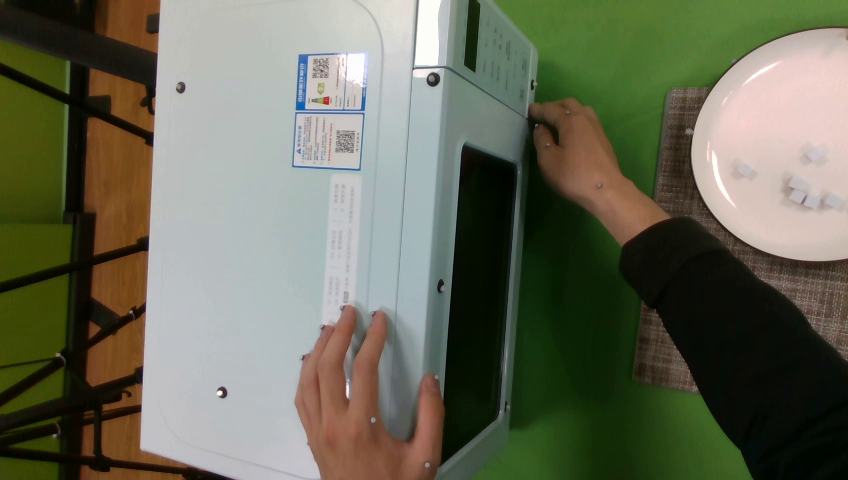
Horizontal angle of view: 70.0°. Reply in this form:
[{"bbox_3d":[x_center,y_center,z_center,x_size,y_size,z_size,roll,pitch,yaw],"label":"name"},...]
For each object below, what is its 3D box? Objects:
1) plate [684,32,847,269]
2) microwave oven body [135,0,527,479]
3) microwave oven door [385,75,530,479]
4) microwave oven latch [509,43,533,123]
[{"bbox_3d":[0.348,-0.077,0.546,0.208,0.038,0.209,0,91,25],"label":"plate"},{"bbox_3d":[-0.089,-0.002,0.628,0.324,0.261,0.442,5,94,24],"label":"microwave oven body"},{"bbox_3d":[0.038,0.052,0.565,0.039,0.245,0.356,5,93,25],"label":"microwave oven door"},{"bbox_3d":[0.100,-0.166,0.645,0.030,0.029,0.079,6,94,24],"label":"microwave oven latch"}]
